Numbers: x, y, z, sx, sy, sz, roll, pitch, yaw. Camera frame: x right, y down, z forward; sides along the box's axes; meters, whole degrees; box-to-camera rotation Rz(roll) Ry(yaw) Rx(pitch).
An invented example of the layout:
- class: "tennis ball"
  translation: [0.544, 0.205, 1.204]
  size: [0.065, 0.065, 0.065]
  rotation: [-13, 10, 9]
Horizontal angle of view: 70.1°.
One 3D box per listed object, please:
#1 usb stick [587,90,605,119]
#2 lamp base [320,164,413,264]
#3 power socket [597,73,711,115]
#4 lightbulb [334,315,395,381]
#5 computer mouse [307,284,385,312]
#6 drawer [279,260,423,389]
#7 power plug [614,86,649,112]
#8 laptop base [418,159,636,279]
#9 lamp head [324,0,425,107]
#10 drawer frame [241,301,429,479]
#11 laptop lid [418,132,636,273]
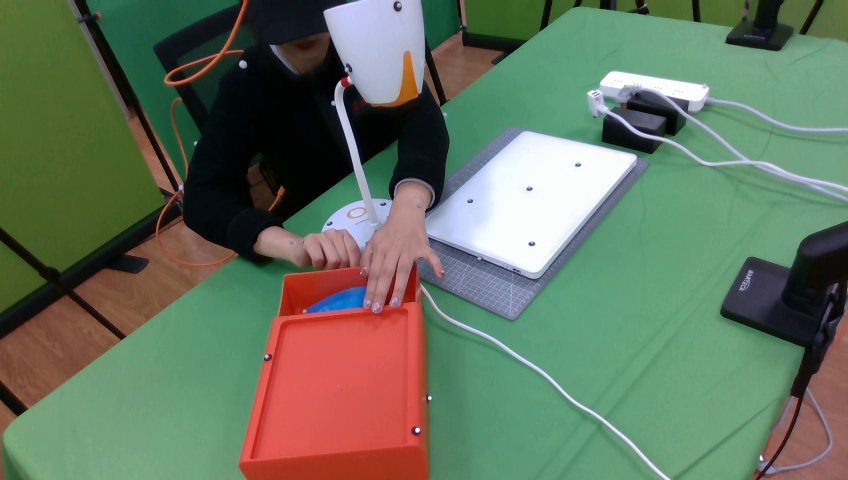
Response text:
- class: "usb stick"
  translation: [0.334, -0.258, 1.170]
  size: [0.021, 0.059, 0.027]
  rotation: [-28, 44, -5]
- class: "lamp base"
  translation: [-0.102, -0.069, 0.963]
  size: [0.161, 0.181, 0.177]
  rotation: [-29, 46, -19]
- class: "power socket"
  translation: [0.469, -0.304, 1.249]
  size: [0.225, 0.033, 0.072]
  rotation: [20, 49, 30]
- class: "lightbulb"
  translation: [-0.083, 0.140, 0.802]
  size: [0.060, 0.060, 0.107]
  rotation: [-32, 61, -25]
- class: "computer mouse"
  translation: [-0.114, 0.101, 0.862]
  size: [0.117, 0.041, 0.062]
  rotation: [-17, 44, 2]
- class: "drawer"
  translation: [-0.100, 0.129, 0.808]
  size: [0.194, 0.073, 0.210]
  rotation: [-6, 40, 2]
- class: "power plug"
  translation: [0.406, -0.275, 1.192]
  size: [0.035, 0.053, 0.072]
  rotation: [-16, 24, -16]
- class: "laptop base"
  translation: [0.185, -0.074, 1.042]
  size: [0.233, 0.023, 0.355]
  rotation: [19, 48, 35]
- class: "lamp head"
  translation: [-0.051, -0.217, 0.708]
  size: [0.112, 0.123, 0.112]
  rotation: [-9, 24, 4]
- class: "drawer frame"
  translation: [-0.096, 0.183, 0.741]
  size: [0.202, 0.083, 0.212]
  rotation: [-6, 40, 3]
- class: "laptop lid"
  translation: [0.181, -0.084, 1.036]
  size: [0.239, 0.013, 0.358]
  rotation: [22, 49, 35]
